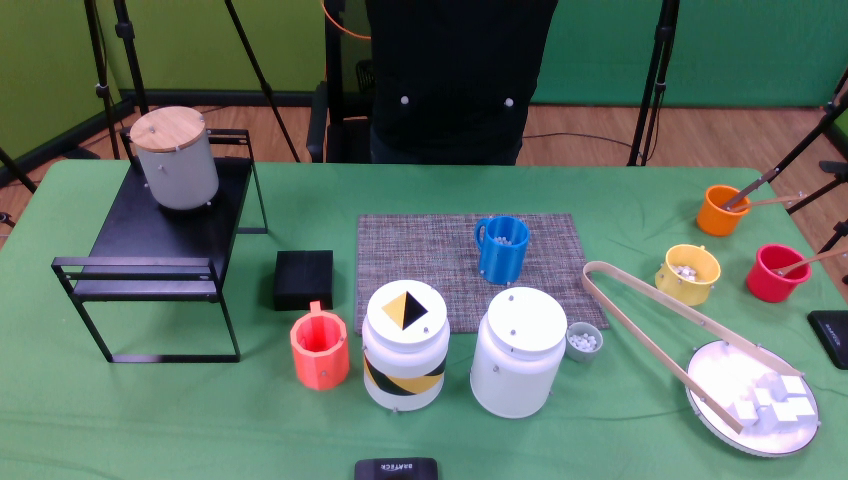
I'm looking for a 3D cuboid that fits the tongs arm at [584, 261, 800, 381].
[{"bbox_3d":[0.452,0.137,1.064,0.051,0.027,0.382,-34,50,-27],"label":"tongs arm"}]

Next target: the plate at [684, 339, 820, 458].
[{"bbox_3d":[0.523,0.256,0.982,0.208,0.039,0.206,2,46,-2],"label":"plate"}]

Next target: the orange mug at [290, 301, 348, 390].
[{"bbox_3d":[-0.170,0.162,0.976,0.083,0.101,0.125,-7,52,-12],"label":"orange mug"}]

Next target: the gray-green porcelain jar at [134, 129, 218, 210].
[{"bbox_3d":[-0.388,-0.120,0.960,0.106,0.127,0.105,2,46,-2],"label":"gray-green porcelain jar"}]

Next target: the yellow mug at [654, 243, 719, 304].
[{"bbox_3d":[0.504,0.054,1.154,0.099,0.064,0.130,28,49,22],"label":"yellow mug"}]

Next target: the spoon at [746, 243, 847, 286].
[{"bbox_3d":[0.703,0.042,1.127,0.194,0.022,0.041,-29,33,30],"label":"spoon"}]

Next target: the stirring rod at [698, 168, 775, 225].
[{"bbox_3d":[0.644,-0.090,1.252,0.176,0.006,0.014,-40,52,17],"label":"stirring rod"}]

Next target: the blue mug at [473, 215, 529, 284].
[{"bbox_3d":[0.135,0.009,1.136,0.082,0.106,0.116,-32,56,-29],"label":"blue mug"}]

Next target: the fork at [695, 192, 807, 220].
[{"bbox_3d":[0.655,-0.069,1.225,0.207,0.019,0.028,-17,33,45],"label":"fork"}]

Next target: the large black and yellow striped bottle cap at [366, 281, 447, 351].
[{"bbox_3d":[-0.025,0.106,0.866,0.115,0.019,0.114,2,46,-1],"label":"large black and yellow striped bottle cap"}]

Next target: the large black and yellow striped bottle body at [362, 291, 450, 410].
[{"bbox_3d":[-0.029,0.163,0.928,0.131,0.185,0.130,2,47,-2],"label":"large black and yellow striped bottle body"}]

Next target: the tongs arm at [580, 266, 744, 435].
[{"bbox_3d":[0.384,0.173,1.028,0.028,0.028,0.385,-25,46,-15],"label":"tongs arm"}]

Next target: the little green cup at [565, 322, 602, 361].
[{"bbox_3d":[0.270,0.176,1.039,0.061,0.039,0.061,2,46,-2],"label":"little green cup"}]

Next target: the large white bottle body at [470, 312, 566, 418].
[{"bbox_3d":[0.143,0.173,0.930,0.131,0.185,0.130,2,46,-2],"label":"large white bottle body"}]

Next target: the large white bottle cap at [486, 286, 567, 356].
[{"bbox_3d":[0.147,0.114,0.869,0.115,0.018,0.114,3,46,-3],"label":"large white bottle cap"}]

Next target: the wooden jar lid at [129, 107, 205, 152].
[{"bbox_3d":[-0.385,-0.163,0.915,0.108,0.021,0.107,2,47,-2],"label":"wooden jar lid"}]
